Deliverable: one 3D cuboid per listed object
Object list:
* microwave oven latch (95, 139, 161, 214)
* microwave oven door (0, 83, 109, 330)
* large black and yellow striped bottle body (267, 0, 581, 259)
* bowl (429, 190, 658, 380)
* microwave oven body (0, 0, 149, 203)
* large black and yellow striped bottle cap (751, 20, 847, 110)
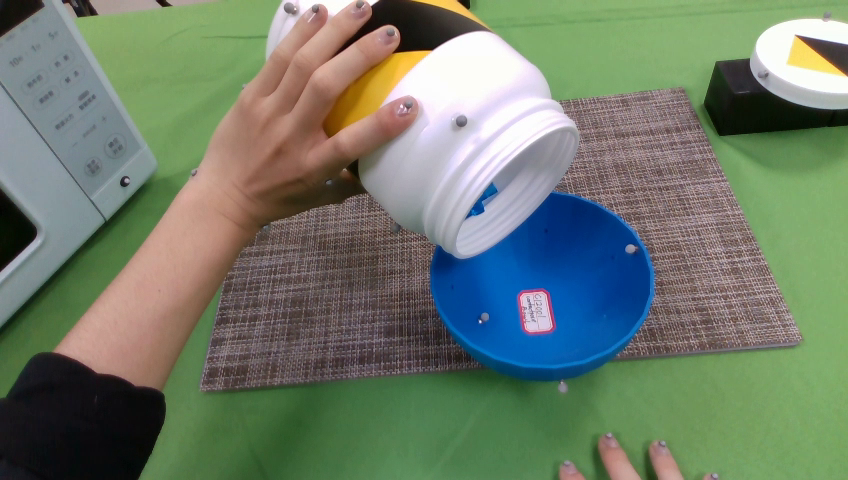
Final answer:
[{"bbox_3d":[-0.290,-0.063,0.583,0.030,0.030,0.079,19,57,21],"label":"microwave oven latch"},{"bbox_3d":[-0.399,0.031,0.389,0.039,0.246,0.354,17,55,21],"label":"microwave oven door"},{"bbox_3d":[-0.001,-0.088,0.401,0.131,0.131,0.182,-36,69,-20],"label":"large black and yellow striped bottle body"},{"bbox_3d":[0.082,0.043,0.438,0.151,0.077,0.150,-4,50,5],"label":"bowl"},{"bbox_3d":[-0.510,-0.037,0.465,0.324,0.263,0.439,18,56,20],"label":"microwave oven body"},{"bbox_3d":[0.359,-0.160,0.546,0.115,0.019,0.114,-5,50,6],"label":"large black and yellow striped bottle cap"}]
